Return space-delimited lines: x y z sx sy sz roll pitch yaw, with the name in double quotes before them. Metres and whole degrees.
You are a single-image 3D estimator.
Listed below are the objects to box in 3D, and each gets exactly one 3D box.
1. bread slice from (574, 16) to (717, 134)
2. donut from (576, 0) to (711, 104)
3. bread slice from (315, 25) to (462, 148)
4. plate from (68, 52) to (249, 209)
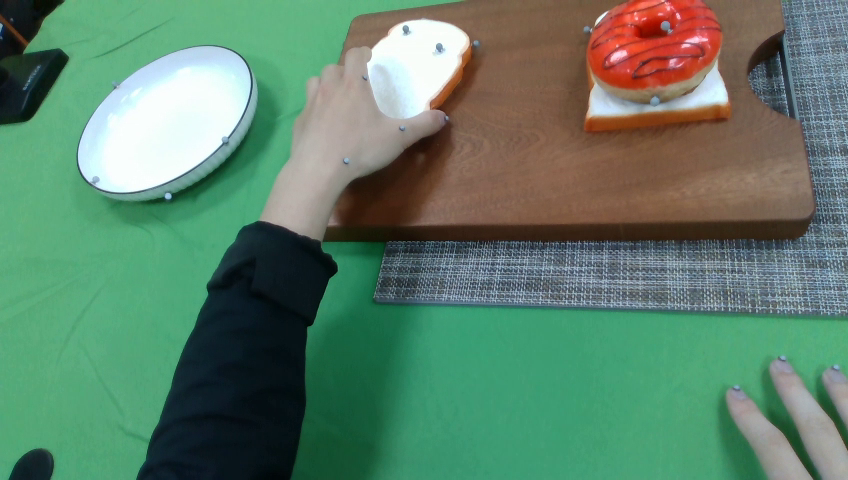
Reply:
"bread slice" 0.174 -0.145 0.496 0.104 0.019 0.130 -3 59 15
"donut" 0.166 -0.147 0.464 0.099 0.049 0.098 -10 57 16
"bread slice" -0.027 -0.147 0.563 0.106 0.018 0.134 18 67 27
"plate" -0.278 -0.116 0.650 0.209 0.038 0.207 -9 57 14
